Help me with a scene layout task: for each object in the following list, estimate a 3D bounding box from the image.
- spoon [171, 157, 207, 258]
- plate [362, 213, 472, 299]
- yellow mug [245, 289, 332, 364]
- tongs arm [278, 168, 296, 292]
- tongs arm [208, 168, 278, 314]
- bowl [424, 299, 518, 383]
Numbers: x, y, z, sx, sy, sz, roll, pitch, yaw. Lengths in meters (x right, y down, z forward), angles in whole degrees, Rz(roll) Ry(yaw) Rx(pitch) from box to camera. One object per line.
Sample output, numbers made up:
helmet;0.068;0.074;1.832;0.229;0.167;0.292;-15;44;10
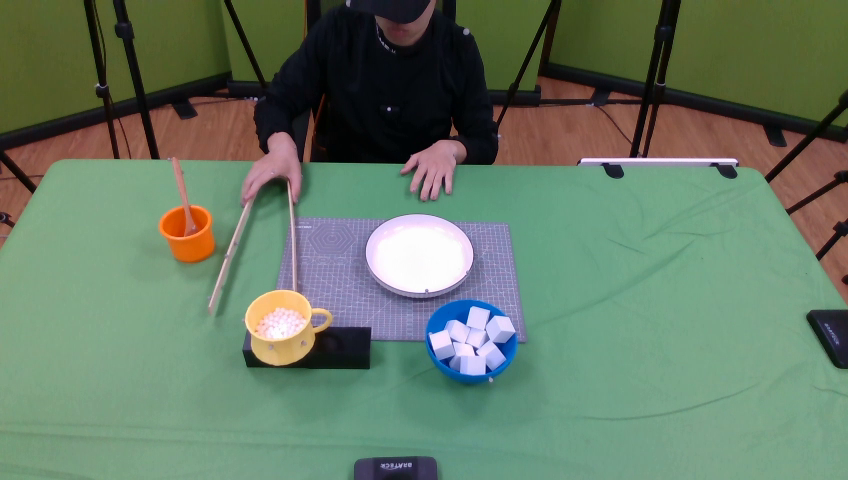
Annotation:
spoon;-0.444;-0.061;1.133;0.042;0.193;0.021;-12;4;-20
plate;-0.014;0.034;1.150;0.208;0.039;0.206;2;46;-2
yellow mug;-0.210;0.133;0.954;0.131;0.064;0.099;-9;48;-14
tongs arm;-0.265;-0.011;1.179;0.028;0.028;0.385;-8;47;-8
tongs arm;-0.342;-0.013;1.170;0.051;0.026;0.382;3;45;-2
bowl;0.072;0.179;0.993;0.151;0.077;0.150;3;46;-3
